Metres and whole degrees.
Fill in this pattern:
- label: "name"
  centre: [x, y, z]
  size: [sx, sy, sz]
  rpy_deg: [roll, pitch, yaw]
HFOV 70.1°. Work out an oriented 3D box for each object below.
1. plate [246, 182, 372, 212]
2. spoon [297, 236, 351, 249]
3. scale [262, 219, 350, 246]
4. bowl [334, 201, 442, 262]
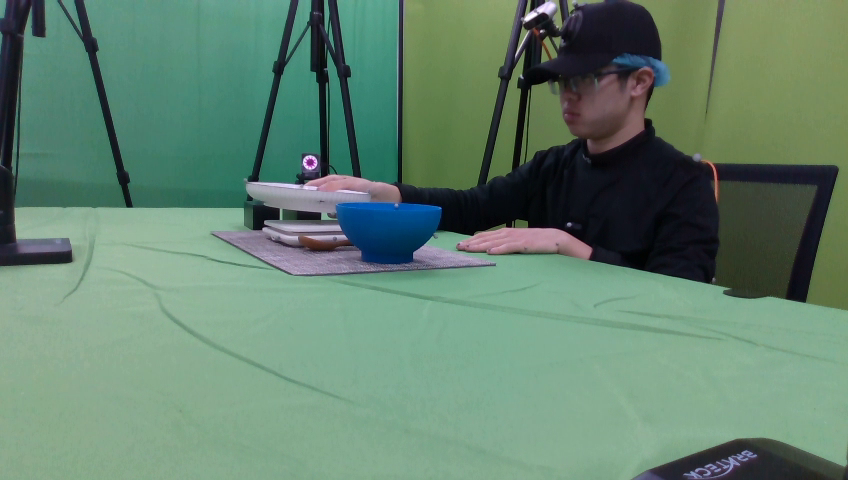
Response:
- label: "plate"
  centre: [-0.195, -0.073, 1.033]
  size: [0.209, 0.038, 0.209]
  rpy_deg: [5, 5, 0]
- label: "spoon"
  centre: [-0.103, 0.002, 0.942]
  size: [0.195, 0.021, 0.041]
  rpy_deg: [-2, -7, -30]
- label: "scale"
  centre: [-0.160, -0.016, 1.028]
  size: [0.202, 0.031, 0.148]
  rpy_deg: [-2, 8, -32]
- label: "bowl"
  centre: [-0.051, -0.012, 0.848]
  size: [0.151, 0.077, 0.151]
  rpy_deg: [2, 7, 0]
